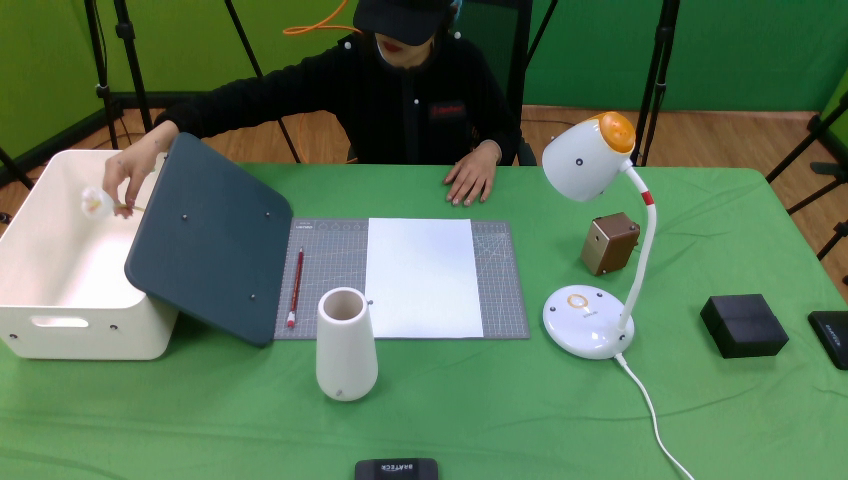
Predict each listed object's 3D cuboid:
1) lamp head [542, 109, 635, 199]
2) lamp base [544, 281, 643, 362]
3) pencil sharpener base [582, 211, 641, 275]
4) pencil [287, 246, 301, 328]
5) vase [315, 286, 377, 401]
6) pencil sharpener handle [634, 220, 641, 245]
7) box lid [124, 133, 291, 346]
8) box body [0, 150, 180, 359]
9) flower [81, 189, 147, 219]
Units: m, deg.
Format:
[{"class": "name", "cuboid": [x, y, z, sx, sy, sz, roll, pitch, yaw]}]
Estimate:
[{"class": "lamp head", "cuboid": [0.253, -0.131, 0.893, 0.113, 0.123, 0.112, 10, 66, -24]}, {"class": "lamp base", "cuboid": [0.303, 0.095, 1.014, 0.161, 0.181, 0.178, -24, 54, -24]}, {"class": "pencil sharpener base", "cuboid": [0.357, 0.005, 1.156, 0.077, 0.107, 0.061, -15, 48, -18]}, {"class": "pencil", "cuboid": [-0.236, 0.080, 1.106, 0.012, 0.012, 0.193, 0, 45, -4]}, {"class": "vase", "cuboid": [-0.119, 0.159, 0.911, 0.098, 0.201, 0.097, 2, 47, -2]}, {"class": "pencil sharpener handle", "cuboid": [0.405, -0.015, 1.161, 0.031, 0.068, 0.035, -15, 44, -18]}, {"class": "box lid", "cuboid": [-0.356, -0.012, 1.064, 0.015, 0.265, 0.369, -33, 39, 26]}, {"class": "box body", "cuboid": [-0.541, 0.021, 1.042, 0.254, 0.161, 0.361, 1, 46, -3]}, {"class": "flower", "cuboid": [-0.502, -0.057, 1.031, 0.038, 0.044, 0.361, -3, 2, -11]}]
